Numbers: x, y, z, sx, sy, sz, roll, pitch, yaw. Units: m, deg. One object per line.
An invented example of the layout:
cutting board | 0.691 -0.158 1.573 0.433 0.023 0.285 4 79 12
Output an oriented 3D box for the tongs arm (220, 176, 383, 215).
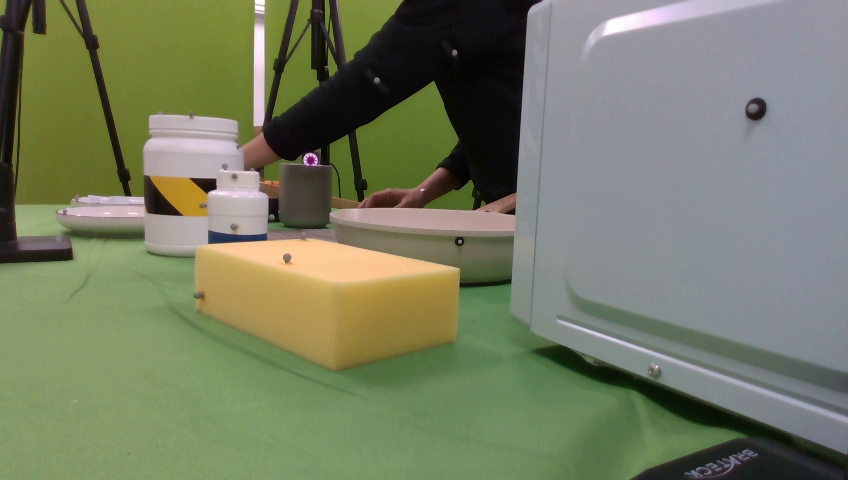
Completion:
tongs arm | -0.285 -0.105 1.445 0.389 0.027 0.028 9 -4 -23

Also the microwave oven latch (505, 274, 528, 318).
microwave oven latch | 0.100 0.041 0.472 0.079 0.029 0.030 -2 8 -29

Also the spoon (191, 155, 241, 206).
spoon | -0.489 -0.136 1.418 0.041 0.021 0.194 2 -35 19

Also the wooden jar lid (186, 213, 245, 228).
wooden jar lid | -0.402 -0.038 1.169 0.108 0.020 0.108 3 8 0

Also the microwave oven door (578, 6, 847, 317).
microwave oven door | 0.294 -0.067 0.570 0.358 0.243 0.039 -3 9 -31

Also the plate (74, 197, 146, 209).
plate | -0.596 -0.062 1.238 0.208 0.039 0.207 2 8 0

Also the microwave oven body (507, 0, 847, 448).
microwave oven body | 0.331 -0.042 0.425 0.444 0.260 0.324 -2 8 -31

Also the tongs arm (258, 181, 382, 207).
tongs arm | -0.241 -0.095 1.373 0.387 0.026 0.050 9 0 -37

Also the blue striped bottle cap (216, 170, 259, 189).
blue striped bottle cap | -0.201 -0.066 0.654 0.044 0.020 0.044 0 5 0

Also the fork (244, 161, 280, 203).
fork | -0.399 -0.144 1.489 0.028 0.018 0.208 23 -23 47

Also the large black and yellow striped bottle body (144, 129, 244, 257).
large black and yellow striped bottle body | -0.320 -0.075 0.851 0.131 0.184 0.130 2 8 0

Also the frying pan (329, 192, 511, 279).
frying pan | 0.071 -0.030 0.883 0.305 0.102 0.490 6 17 27

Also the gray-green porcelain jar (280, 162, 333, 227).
gray-green porcelain jar | -0.238 -0.092 1.220 0.106 0.126 0.106 2 7 0

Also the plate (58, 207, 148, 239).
plate | -0.496 -0.030 1.021 0.209 0.038 0.209 2 8 0

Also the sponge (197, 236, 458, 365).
sponge | -0.087 0.039 0.500 0.119 0.061 0.206 -5 9 -45

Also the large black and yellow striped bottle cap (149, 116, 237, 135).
large black and yellow striped bottle cap | -0.319 -0.158 0.841 0.115 0.019 0.115 3 7 0

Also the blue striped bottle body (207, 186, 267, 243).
blue striped bottle body | -0.204 -0.015 0.661 0.063 0.120 0.063 2 7 0
